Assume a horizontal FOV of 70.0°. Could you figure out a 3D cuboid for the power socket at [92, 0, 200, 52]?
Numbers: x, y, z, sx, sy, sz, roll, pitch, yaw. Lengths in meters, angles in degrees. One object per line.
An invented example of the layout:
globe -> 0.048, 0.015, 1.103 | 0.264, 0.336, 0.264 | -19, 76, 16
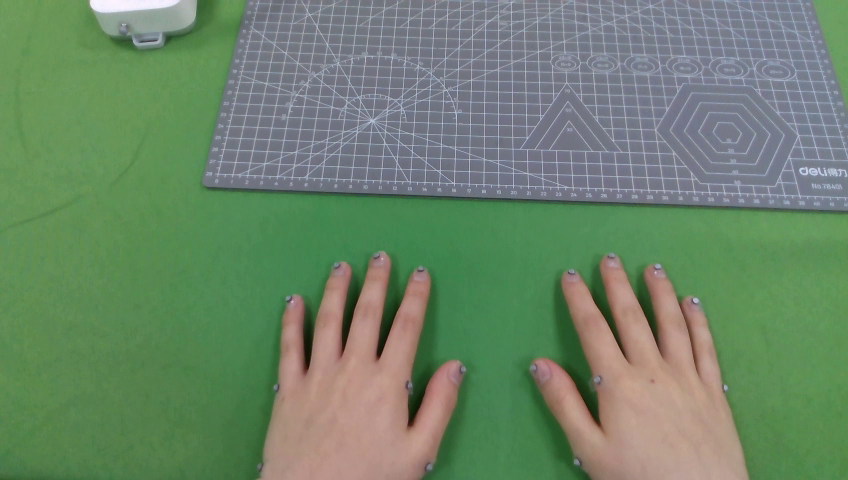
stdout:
power socket -> -0.220, -0.251, 0.500 | 0.072, 0.033, 0.224 | -5, 64, -3
